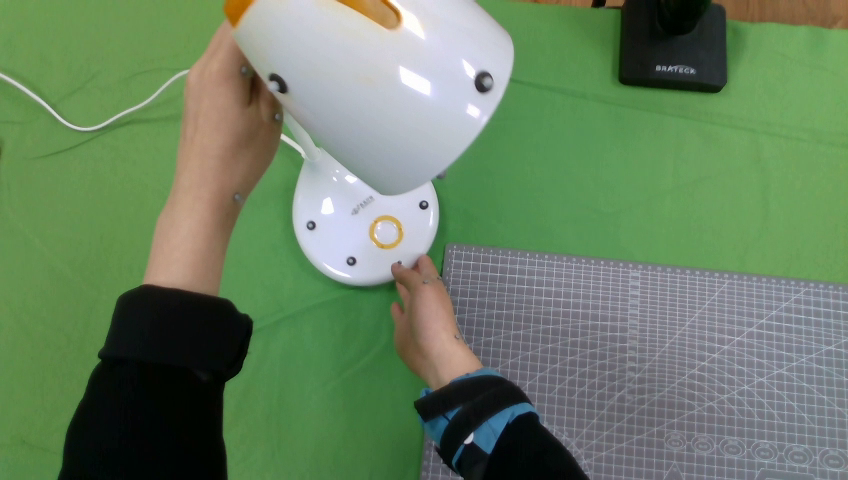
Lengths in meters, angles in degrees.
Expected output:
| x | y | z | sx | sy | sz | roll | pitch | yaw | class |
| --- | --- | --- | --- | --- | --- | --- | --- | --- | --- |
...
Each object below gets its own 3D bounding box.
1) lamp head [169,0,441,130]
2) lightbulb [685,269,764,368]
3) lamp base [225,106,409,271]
| x | y | z | sx | sy | sz | roll | pitch | yaw | class |
| --- | --- | --- | --- | --- | --- | --- | --- | --- | --- |
| -0.071 | -0.128 | 0.296 | 0.124 | 0.112 | 0.112 | 21 | 77 | -31 | lamp head |
| 0.296 | 0.077 | 0.610 | 0.059 | 0.060 | 0.106 | -18 | 63 | -2 | lightbulb |
| -0.110 | -0.064 | 0.580 | 0.179 | 0.181 | 0.160 | 16 | 79 | 7 | lamp base |
